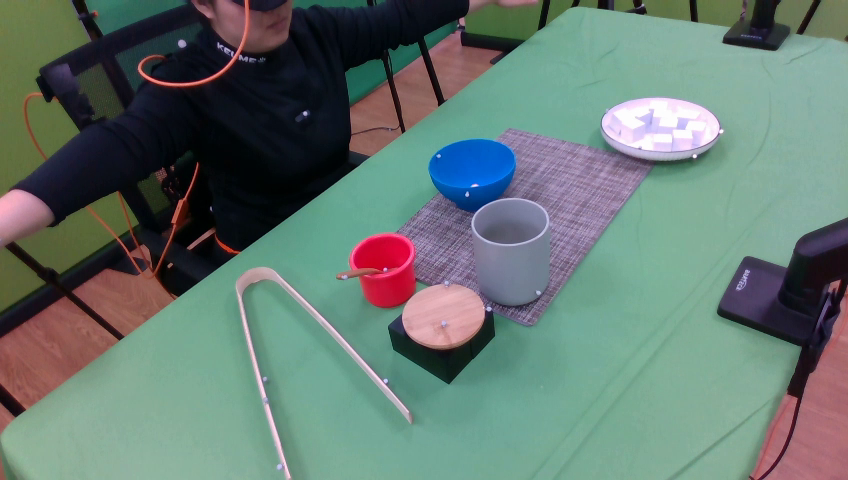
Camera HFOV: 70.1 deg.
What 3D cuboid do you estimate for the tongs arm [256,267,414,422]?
[{"bbox_3d":[-0.137,0.132,0.853,0.028,0.028,0.384,-34,45,-23],"label":"tongs arm"}]

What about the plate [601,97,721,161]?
[{"bbox_3d":[0.436,-0.203,1.126,0.209,0.038,0.208,-5,39,5],"label":"plate"}]

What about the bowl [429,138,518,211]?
[{"bbox_3d":[0.087,-0.104,1.043,0.151,0.077,0.150,-5,40,5],"label":"bowl"}]

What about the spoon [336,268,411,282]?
[{"bbox_3d":[-0.071,0.047,0.850,0.041,0.195,0.021,18,93,24],"label":"spoon"}]

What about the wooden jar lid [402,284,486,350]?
[{"bbox_3d":[0.026,0.101,0.786,0.108,0.021,0.108,-5,39,4],"label":"wooden jar lid"}]

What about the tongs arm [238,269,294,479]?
[{"bbox_3d":[-0.208,0.163,0.824,0.051,0.026,0.381,-22,40,-15],"label":"tongs arm"}]

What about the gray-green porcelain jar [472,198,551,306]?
[{"bbox_3d":[0.125,0.021,0.850,0.106,0.127,0.105,-6,40,5],"label":"gray-green porcelain jar"}]
